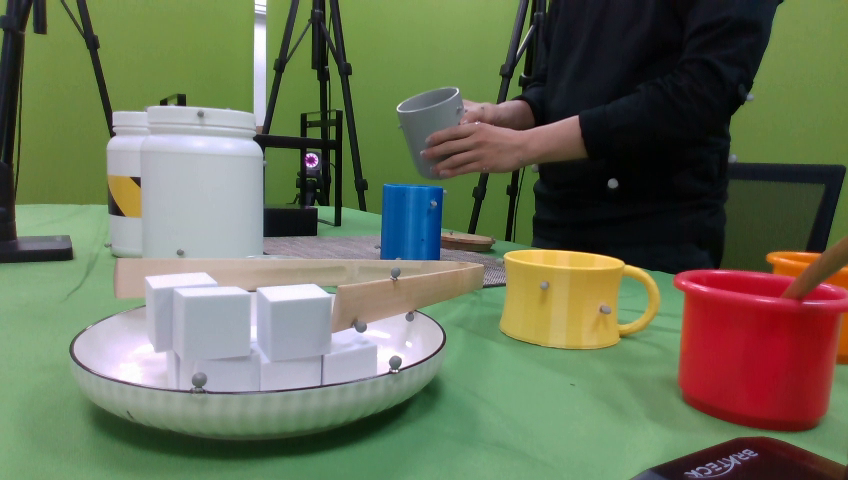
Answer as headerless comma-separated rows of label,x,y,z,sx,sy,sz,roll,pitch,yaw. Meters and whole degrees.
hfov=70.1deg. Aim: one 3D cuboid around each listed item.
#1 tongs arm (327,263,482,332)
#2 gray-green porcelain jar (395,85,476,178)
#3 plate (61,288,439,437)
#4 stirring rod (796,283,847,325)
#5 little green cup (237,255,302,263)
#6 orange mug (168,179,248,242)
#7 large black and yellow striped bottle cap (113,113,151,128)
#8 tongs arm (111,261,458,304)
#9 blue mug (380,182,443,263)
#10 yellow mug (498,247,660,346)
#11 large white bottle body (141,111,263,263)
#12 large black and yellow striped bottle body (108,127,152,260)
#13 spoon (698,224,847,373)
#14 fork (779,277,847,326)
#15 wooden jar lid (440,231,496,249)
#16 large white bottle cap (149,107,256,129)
tongs arm,-0.003,0.036,0.493,0.050,0.026,0.386,1,0,19
gray-green porcelain jar,0.022,-0.172,0.982,0.106,0.127,0.105,-15,27,8
plate,-0.095,0.069,0.362,0.208,0.039,0.207,3,7,0
stirring rod,0.346,0.019,0.460,0.014,0.176,0.006,-17,59,-26
little green cup,-0.150,0.038,0.590,0.061,0.038,0.061,3,6,0
orange mug,-0.351,-0.050,0.986,0.126,0.101,0.083,-3,8,-9
large black and yellow striped bottle cap,-0.348,-0.154,0.800,0.115,0.019,0.115,2,6,0
tongs arm,-0.080,0.032,0.527,0.028,0.027,0.389,-3,-3,33
blue mug,-0.019,-0.026,0.833,0.082,0.106,0.116,1,7,-7
yellow mug,0.130,0.045,0.508,0.131,0.064,0.100,4,7,6
large white bottle body,-0.254,-0.054,0.697,0.131,0.184,0.130,2,7,0
large black and yellow striped bottle body,-0.350,-0.071,0.812,0.131,0.184,0.130,2,7,0
spoon,0.195,0.032,0.323,0.041,0.021,0.194,1,-36,2
fork,0.335,0.018,0.443,0.028,0.018,0.207,-1,-36,-20
wooden jar lid,0.066,0.000,1.011,0.108,0.020,0.108,6,7,0
large white bottle cap,-0.250,-0.137,0.686,0.115,0.018,0.115,2,8,0
